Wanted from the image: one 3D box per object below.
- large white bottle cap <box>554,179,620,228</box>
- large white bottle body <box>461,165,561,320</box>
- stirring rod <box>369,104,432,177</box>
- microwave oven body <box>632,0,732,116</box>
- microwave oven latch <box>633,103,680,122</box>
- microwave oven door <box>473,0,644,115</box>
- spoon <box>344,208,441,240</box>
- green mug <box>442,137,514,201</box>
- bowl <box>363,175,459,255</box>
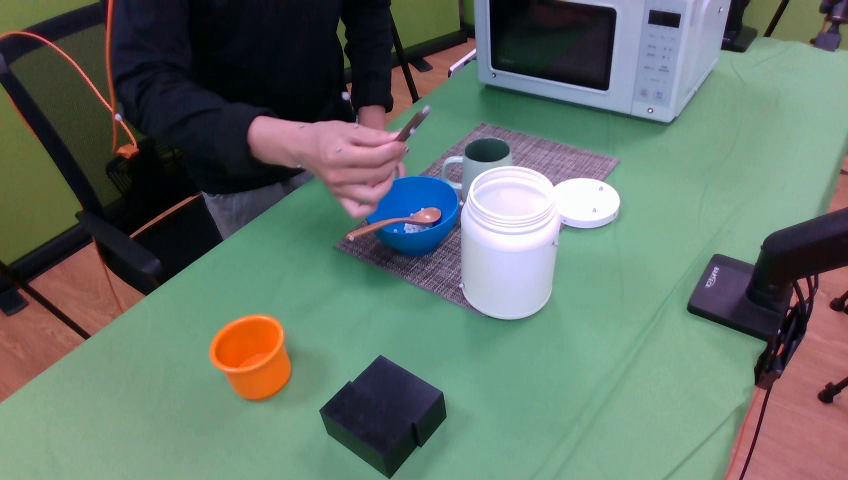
[{"bbox_3d":[0.265,-0.062,1.001,0.115,0.018,0.114,-3,41,3],"label":"large white bottle cap"},{"bbox_3d":[0.115,0.004,0.816,0.130,0.185,0.130,-2,43,2],"label":"large white bottle body"},{"bbox_3d":[-0.030,-0.107,0.675,0.014,0.175,0.006,-24,83,-28],"label":"stirring rod"},{"bbox_3d":[0.377,-0.463,1.267,0.438,0.261,0.327,21,49,30],"label":"microwave oven body"},{"bbox_3d":[0.444,-0.249,1.158,0.078,0.029,0.030,21,49,30],"label":"microwave oven latch"},{"bbox_3d":[0.257,-0.396,1.199,0.353,0.245,0.039,21,48,29],"label":"microwave oven door"},{"bbox_3d":[-0.046,-0.025,0.912,0.041,0.021,0.195,27,27,37],"label":"spoon"},{"bbox_3d":[0.091,-0.108,1.012,0.125,0.105,0.092,2,42,12],"label":"green mug"},{"bbox_3d":[-0.016,-0.029,0.955,0.151,0.077,0.150,-4,40,4],"label":"bowl"}]
